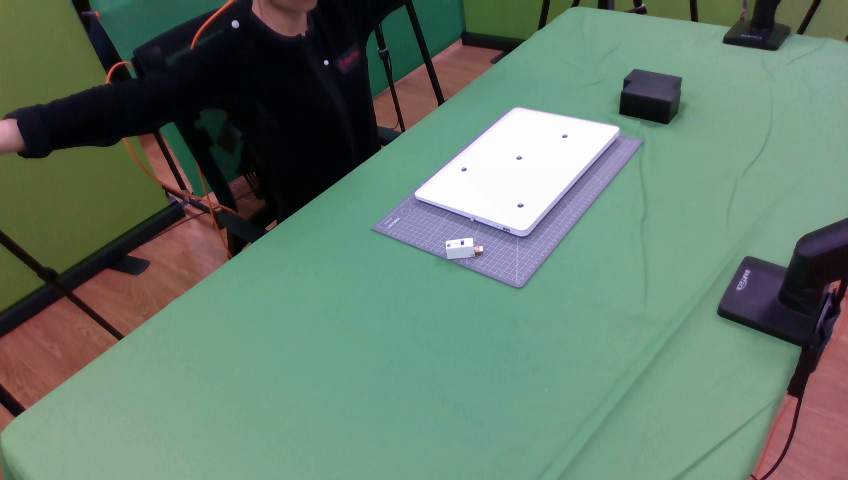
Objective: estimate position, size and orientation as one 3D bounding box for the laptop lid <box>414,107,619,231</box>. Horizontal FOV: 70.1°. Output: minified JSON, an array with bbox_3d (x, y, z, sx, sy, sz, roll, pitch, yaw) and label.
[{"bbox_3d":[0.174,-0.147,1.106,0.239,0.013,0.358,22,49,34],"label":"laptop lid"}]

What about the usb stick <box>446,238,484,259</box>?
[{"bbox_3d":[0.064,0.013,0.946,0.059,0.027,0.021,-4,41,3],"label":"usb stick"}]

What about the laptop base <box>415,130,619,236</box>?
[{"bbox_3d":[0.178,-0.137,1.112,0.233,0.023,0.355,19,48,34],"label":"laptop base"}]
